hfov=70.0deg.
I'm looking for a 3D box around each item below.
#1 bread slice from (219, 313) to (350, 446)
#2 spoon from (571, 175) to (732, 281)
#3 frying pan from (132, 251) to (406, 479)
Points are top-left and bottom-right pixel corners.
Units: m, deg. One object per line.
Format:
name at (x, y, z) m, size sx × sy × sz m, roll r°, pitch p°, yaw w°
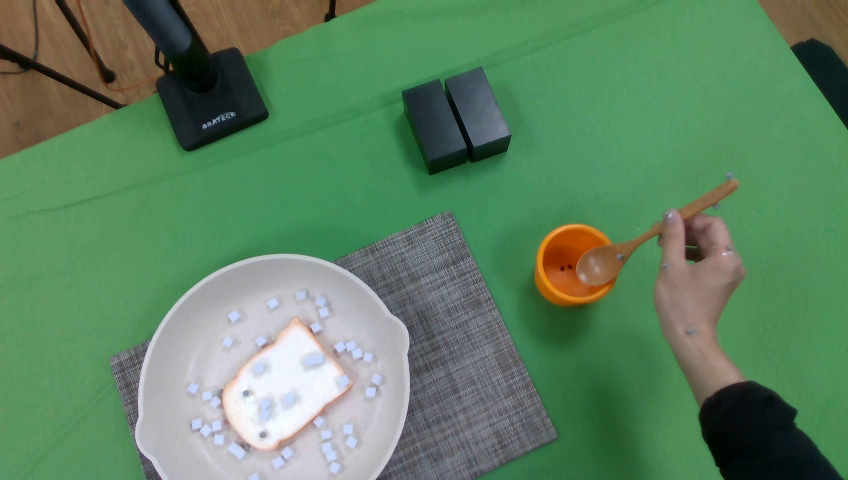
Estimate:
bread slice at (-0.166, 0.169, 0.703) m, size 0.106 × 0.018 × 0.134 m, roll 44°, pitch 78°, yaw 10°
spoon at (0.226, -0.010, 0.620) m, size 0.022 × 0.194 × 0.041 m, roll -12°, pitch 70°, yaw -41°
frying pan at (-0.127, 0.248, 0.642) m, size 0.307 × 0.103 × 0.483 m, roll -21°, pitch 68°, yaw -4°
